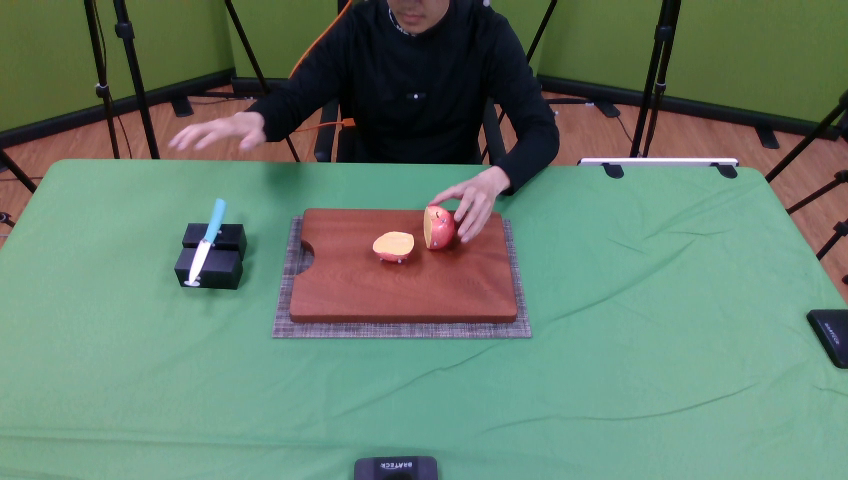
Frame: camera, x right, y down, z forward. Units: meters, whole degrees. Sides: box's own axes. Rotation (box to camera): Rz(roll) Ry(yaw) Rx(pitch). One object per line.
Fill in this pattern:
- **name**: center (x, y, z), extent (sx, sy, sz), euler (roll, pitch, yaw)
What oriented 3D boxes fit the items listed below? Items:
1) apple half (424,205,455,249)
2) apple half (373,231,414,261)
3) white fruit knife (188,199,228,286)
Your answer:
- **apple half**: center (0.031, -0.023, 1.144), extent (0.053, 0.075, 0.080), euler (-2, 42, -12)
- **apple half**: center (-0.053, 0.017, 1.127), extent (0.081, 0.033, 0.081), euler (-3, 33, 2)
- **white fruit knife**: center (-0.393, 0.001, 1.104), extent (0.027, 0.016, 0.206), euler (-3, 50, 9)
